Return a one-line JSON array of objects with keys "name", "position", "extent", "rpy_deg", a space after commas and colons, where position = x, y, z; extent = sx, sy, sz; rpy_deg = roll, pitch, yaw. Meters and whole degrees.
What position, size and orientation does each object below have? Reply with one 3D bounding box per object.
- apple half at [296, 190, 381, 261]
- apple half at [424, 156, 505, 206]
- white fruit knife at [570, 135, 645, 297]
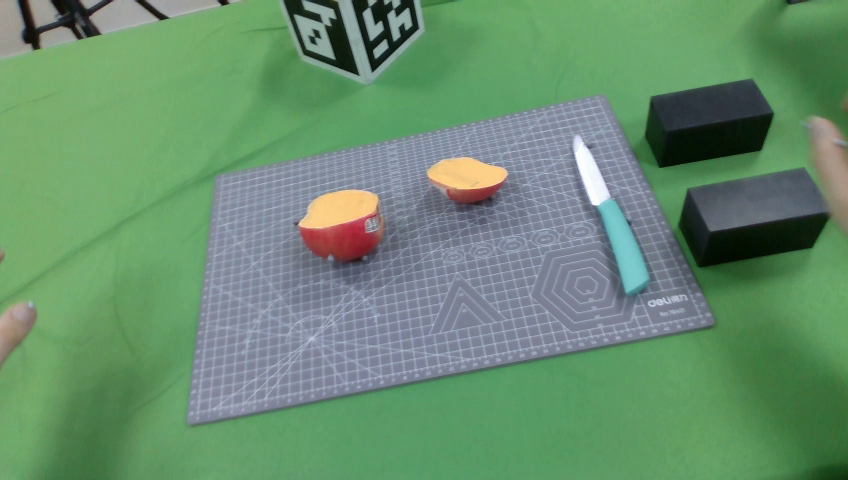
[{"name": "apple half", "position": [-0.077, -0.008, 0.579], "extent": [0.074, 0.054, 0.080], "rpy_deg": [-11, 28, 4]}, {"name": "apple half", "position": [0.038, -0.051, 0.602], "extent": [0.081, 0.033, 0.080], "rpy_deg": [-2, 33, 2]}, {"name": "white fruit knife", "position": [0.170, -0.032, 0.576], "extent": [0.027, 0.016, 0.205], "rpy_deg": [-2, 51, -6]}]
